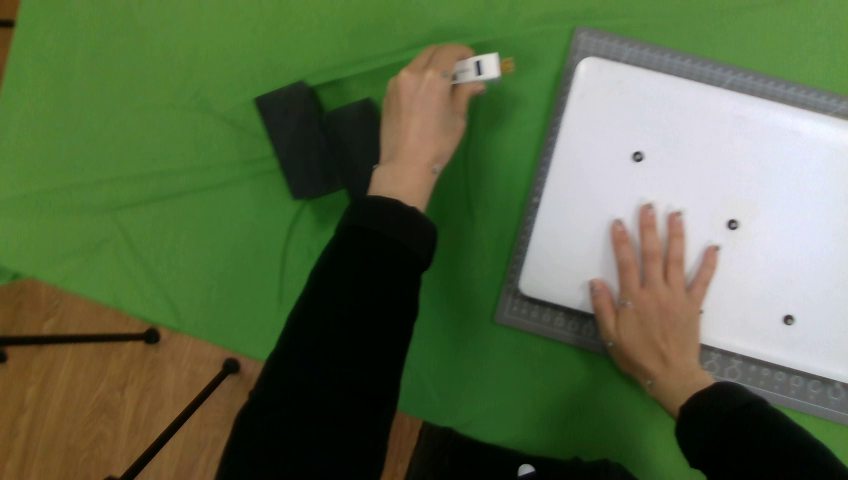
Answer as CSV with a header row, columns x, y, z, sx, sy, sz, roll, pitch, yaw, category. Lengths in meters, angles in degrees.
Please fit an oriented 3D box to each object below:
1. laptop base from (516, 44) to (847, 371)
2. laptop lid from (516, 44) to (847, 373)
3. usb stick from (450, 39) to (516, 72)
x,y,z,sx,sy,sz,roll,pitch,yaw,category
0.286,-0.028,0.575,0.354,0.023,0.236,15,99,2,laptop base
0.285,-0.025,0.565,0.356,0.013,0.242,17,99,2,laptop lid
0.053,-0.165,0.538,0.059,0.027,0.021,-9,104,2,usb stick
